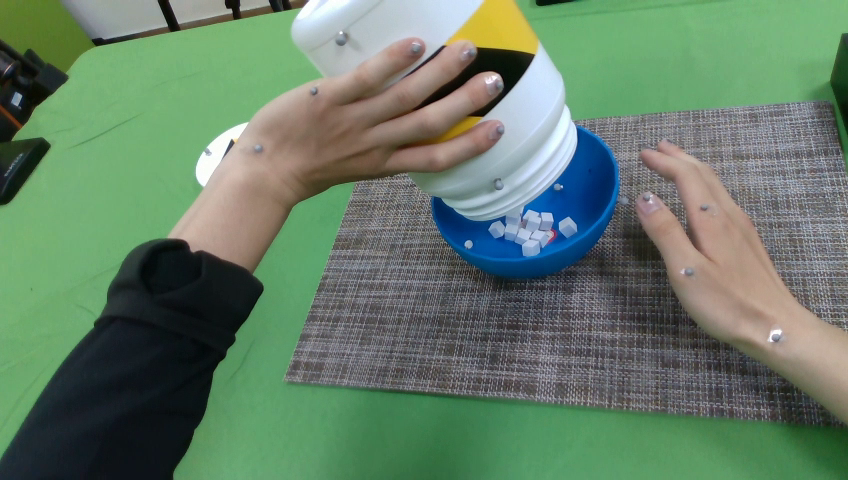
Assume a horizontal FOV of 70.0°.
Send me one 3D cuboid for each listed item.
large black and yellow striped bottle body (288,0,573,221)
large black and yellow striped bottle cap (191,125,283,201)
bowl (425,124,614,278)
[{"bbox_3d":[0.013,-0.113,0.422,0.130,0.186,0.129,-30,31,21],"label":"large black and yellow striped bottle body"},{"bbox_3d":[-0.226,-0.095,0.730,0.115,0.019,0.114,-9,51,12],"label":"large black and yellow striped bottle cap"},{"bbox_3d":[0.083,-0.021,0.508,0.151,0.077,0.150,-10,51,13],"label":"bowl"}]
